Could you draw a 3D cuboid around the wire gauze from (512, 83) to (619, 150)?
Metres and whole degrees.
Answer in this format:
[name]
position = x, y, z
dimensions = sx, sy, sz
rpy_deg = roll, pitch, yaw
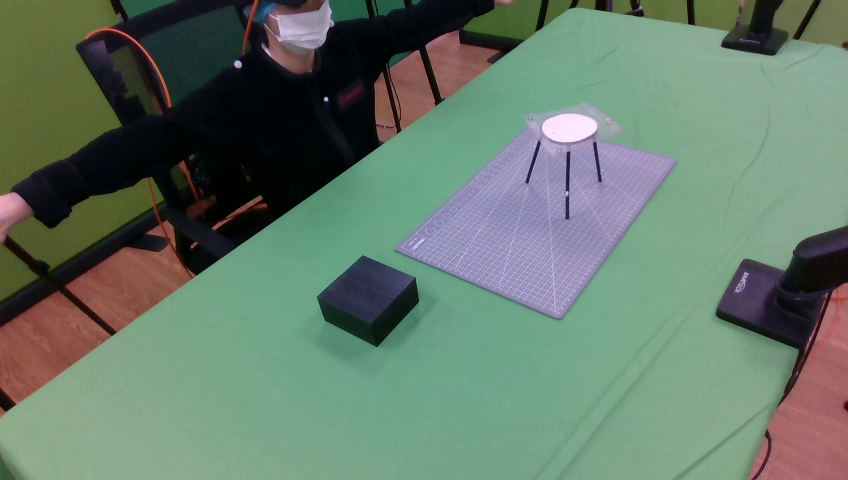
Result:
[wire gauze]
position = 0.221, -0.193, 0.950
dimensions = 0.125, 0.011, 0.120
rpy_deg = -34, 50, -17

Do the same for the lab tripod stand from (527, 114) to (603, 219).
[lab tripod stand]
position = 0.235, -0.129, 1.002
dimensions = 0.148, 0.132, 0.147
rpy_deg = -6, 40, 6
